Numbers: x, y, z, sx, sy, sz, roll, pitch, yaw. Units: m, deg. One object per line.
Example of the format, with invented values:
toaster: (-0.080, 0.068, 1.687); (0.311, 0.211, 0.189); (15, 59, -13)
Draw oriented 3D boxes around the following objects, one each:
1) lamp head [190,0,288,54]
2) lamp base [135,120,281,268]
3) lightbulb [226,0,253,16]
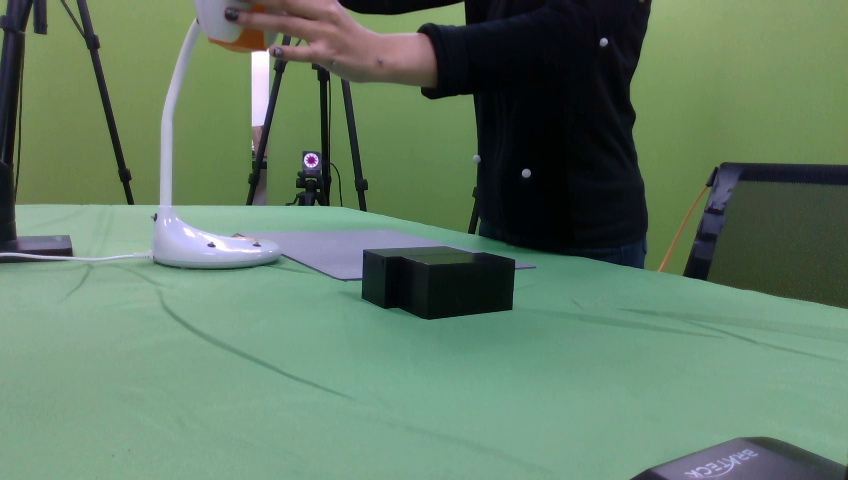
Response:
lamp head: (-0.188, -0.252, 0.606); (0.112, 0.123, 0.112); (10, 20, -4)
lamp base: (-0.276, -0.061, 0.772); (0.180, 0.180, 0.160); (-9, 13, -44)
lightbulb: (-0.177, -0.278, 0.597); (0.059, 0.107, 0.059); (11, 15, -3)
